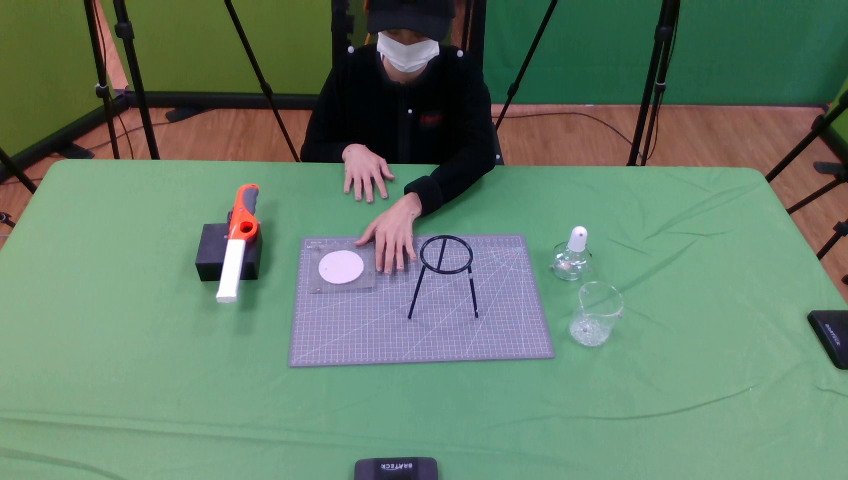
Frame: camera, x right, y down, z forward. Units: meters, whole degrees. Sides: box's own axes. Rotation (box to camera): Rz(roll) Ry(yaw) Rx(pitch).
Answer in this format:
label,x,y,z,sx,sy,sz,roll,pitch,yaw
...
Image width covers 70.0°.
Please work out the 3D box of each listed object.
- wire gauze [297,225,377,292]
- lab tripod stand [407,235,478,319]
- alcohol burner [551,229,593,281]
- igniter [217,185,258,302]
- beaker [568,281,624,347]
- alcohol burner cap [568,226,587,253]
label,x,y,z,sx,sy,sz,roll,pitch,yaw
wire gauze,-0.165,0.035,1.137,0.125,0.011,0.120,-21,53,-15
lab tripod stand,0.032,0.065,1.057,0.148,0.132,0.147,1,45,-1
alcohol burner,0.281,0.021,1.137,0.078,0.120,0.077,1,48,-1
igniter,-0.340,-0.004,1.106,0.057,0.025,0.274,1,49,-6
beaker,0.290,0.132,1.041,0.084,0.101,0.073,-34,57,-31
alcohol burner cap,0.284,-0.003,1.112,0.034,0.048,0.033,1,42,-1
